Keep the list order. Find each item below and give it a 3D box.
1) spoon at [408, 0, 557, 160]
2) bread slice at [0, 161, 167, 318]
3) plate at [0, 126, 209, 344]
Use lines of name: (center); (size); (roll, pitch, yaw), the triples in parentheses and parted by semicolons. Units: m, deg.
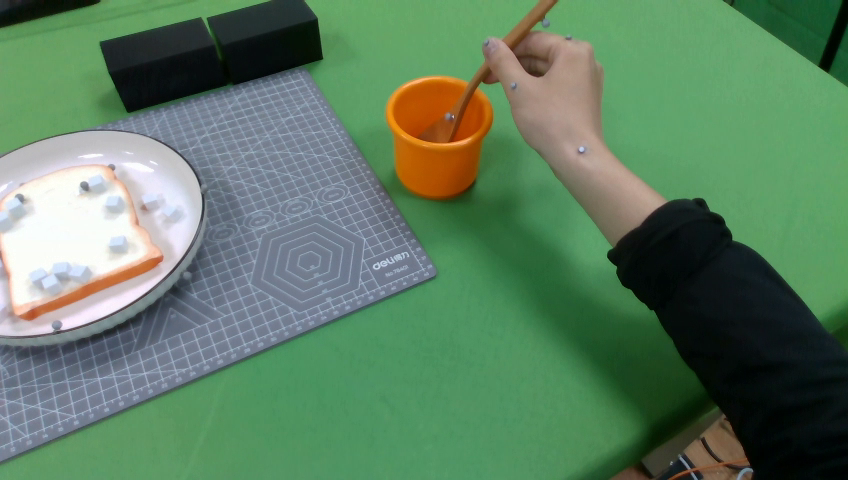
spoon: (0.048, -0.136, 0.502); (0.022, 0.194, 0.041); (16, 43, -32)
bread slice: (-0.283, -0.008, 0.489); (0.107, 0.018, 0.133); (-29, 61, -21)
plate: (-0.277, -0.007, 0.485); (0.209, 0.038, 0.207); (1, 54, -1)
